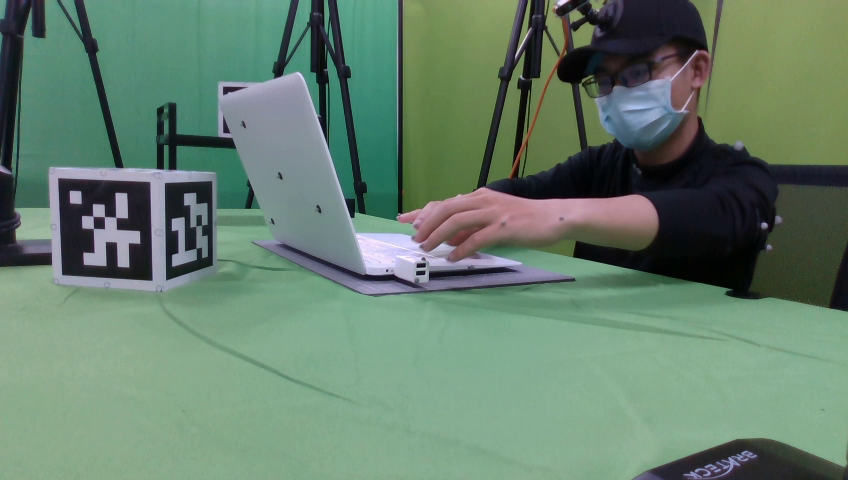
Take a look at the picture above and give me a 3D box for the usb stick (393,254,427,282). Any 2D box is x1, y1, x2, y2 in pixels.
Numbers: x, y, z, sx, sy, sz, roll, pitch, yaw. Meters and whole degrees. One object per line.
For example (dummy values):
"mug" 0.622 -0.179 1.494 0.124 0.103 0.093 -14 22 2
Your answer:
"usb stick" -0.020 0.031 0.695 0.021 0.027 0.059 -3 6 -31

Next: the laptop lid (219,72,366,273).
"laptop lid" -0.189 -0.087 0.801 0.013 0.242 0.355 -26 21 -26

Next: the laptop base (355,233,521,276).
"laptop base" -0.055 0.018 0.898 0.237 0.023 0.352 1 6 -32
